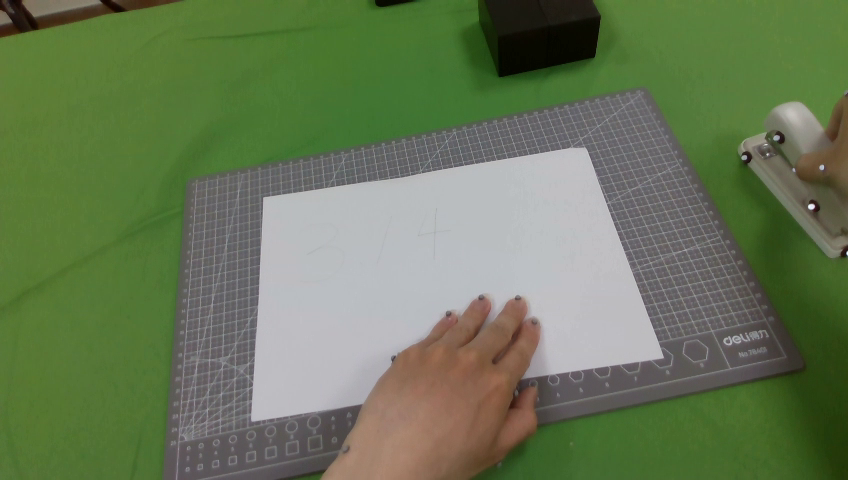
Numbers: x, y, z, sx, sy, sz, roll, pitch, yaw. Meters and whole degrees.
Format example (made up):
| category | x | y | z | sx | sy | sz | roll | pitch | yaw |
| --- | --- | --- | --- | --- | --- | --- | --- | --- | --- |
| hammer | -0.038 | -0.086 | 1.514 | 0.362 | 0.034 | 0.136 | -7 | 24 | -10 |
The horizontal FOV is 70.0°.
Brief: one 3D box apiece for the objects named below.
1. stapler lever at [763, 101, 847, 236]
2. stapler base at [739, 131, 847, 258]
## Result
| category | x | y | z | sx | sy | sz | roll | pitch | yaw |
| --- | --- | --- | --- | --- | --- | --- | --- | --- | --- |
| stapler lever | 0.307 | -0.059 | 0.468 | 0.027 | 0.040 | 0.117 | -20 | 57 | -2 |
| stapler base | 0.310 | -0.046 | 0.490 | 0.041 | 0.025 | 0.129 | -20 | 57 | -2 |
